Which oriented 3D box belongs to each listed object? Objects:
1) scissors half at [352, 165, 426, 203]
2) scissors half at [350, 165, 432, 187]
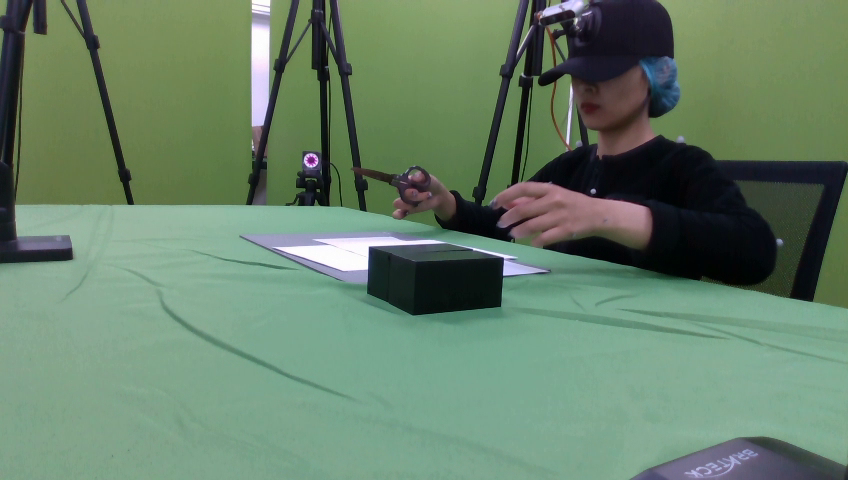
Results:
[{"bbox_3d":[-0.066,-0.106,1.123,0.176,0.040,0.012,23,7,-37],"label":"scissors half"},{"bbox_3d":[-0.059,-0.124,1.119,0.176,0.040,0.013,2,14,-35],"label":"scissors half"}]
